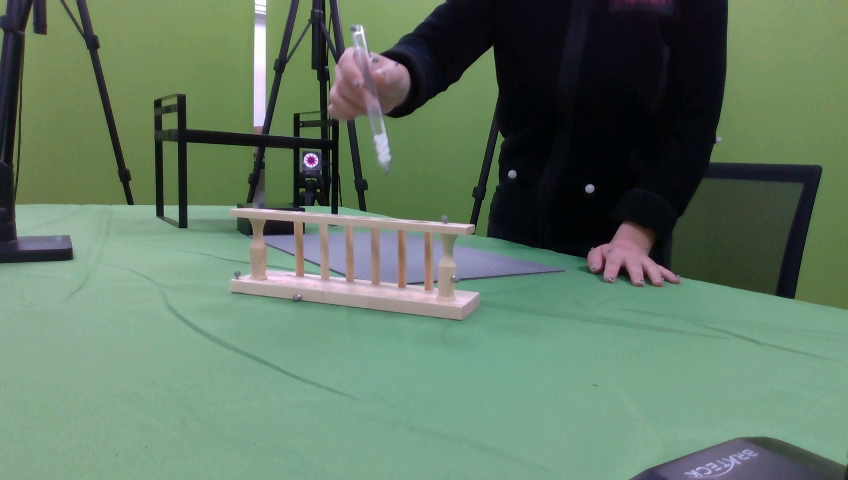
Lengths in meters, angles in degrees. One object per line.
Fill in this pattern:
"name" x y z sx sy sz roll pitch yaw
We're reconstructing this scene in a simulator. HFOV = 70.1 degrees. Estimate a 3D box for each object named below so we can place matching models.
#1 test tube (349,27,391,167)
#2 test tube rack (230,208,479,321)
"test tube" -0.055 -0.147 0.624 0.017 0.150 0.017 -12 -7 -1
"test tube rack" -0.069 0.018 0.598 0.242 0.085 0.067 5 8 18
